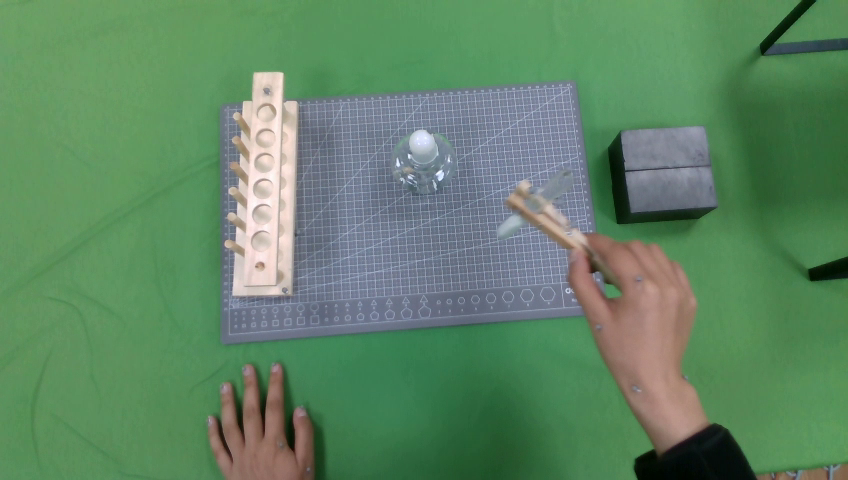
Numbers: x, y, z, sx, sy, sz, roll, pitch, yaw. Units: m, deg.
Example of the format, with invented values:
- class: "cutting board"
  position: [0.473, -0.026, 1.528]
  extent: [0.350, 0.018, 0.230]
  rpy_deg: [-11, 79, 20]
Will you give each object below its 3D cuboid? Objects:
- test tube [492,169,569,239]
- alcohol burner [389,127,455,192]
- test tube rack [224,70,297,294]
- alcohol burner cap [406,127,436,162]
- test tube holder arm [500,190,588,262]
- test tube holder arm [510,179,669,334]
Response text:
- class: "test tube"
  position: [0.086, -0.027, 0.520]
  extent: [0.017, 0.150, 0.017]
  rpy_deg: [3, 74, -11]
- class: "alcohol burner"
  position: [-0.003, -0.098, 0.689]
  extent: [0.078, 0.119, 0.077]
  rpy_deg: [0, 79, 0]
- class: "test tube rack"
  position: [-0.190, -0.064, 0.694]
  extent: [0.067, 0.085, 0.241]
  rpy_deg: [-1, 78, -1]
- class: "alcohol burner cap"
  position: [-0.004, -0.106, 0.654]
  extent: [0.034, 0.048, 0.034]
  rpy_deg: [0, 83, 1]
- class: "test tube holder arm"
  position: [0.103, -0.011, 0.511]
  extent: [0.088, 0.015, 0.010]
  rpy_deg: [36, 71, -2]
- class: "test tube holder arm"
  position: [0.140, 0.014, 0.513]
  extent: [0.178, 0.015, 0.013]
  rpy_deg: [43, 72, 1]
